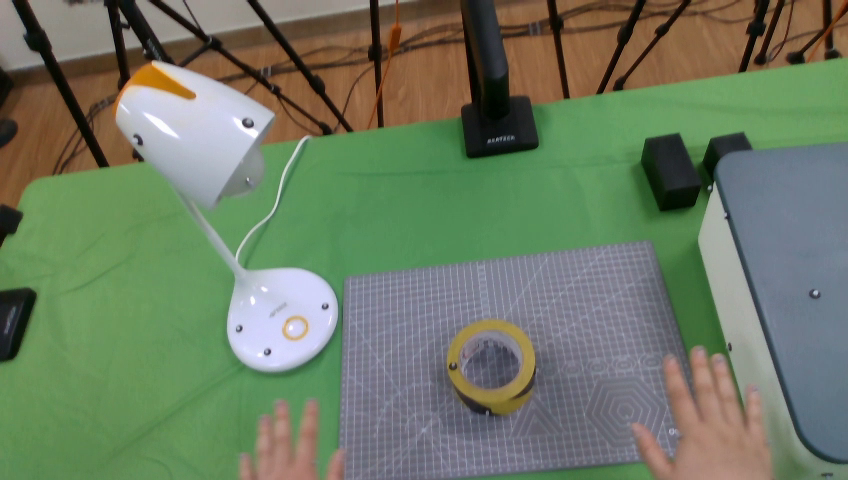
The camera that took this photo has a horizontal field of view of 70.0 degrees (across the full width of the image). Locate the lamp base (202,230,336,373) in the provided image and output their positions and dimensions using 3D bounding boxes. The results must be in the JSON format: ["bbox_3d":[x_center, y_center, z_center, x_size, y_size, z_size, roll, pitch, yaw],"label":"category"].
[{"bbox_3d":[-0.227,0.068,0.812,0.178,0.182,0.160,27,65,27],"label":"lamp base"}]

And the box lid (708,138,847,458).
[{"bbox_3d":[0.474,0.033,0.634,0.263,0.015,0.368,-5,56,6],"label":"box lid"}]

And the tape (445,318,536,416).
[{"bbox_3d":[0.084,0.161,0.772,0.117,0.053,0.116,-4,56,6],"label":"tape"}]

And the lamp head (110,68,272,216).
[{"bbox_3d":[-0.220,-0.097,0.561,0.123,0.112,0.112,31,62,-11],"label":"lamp head"}]

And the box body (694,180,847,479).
[{"bbox_3d":[0.485,0.076,0.694,0.254,0.162,0.360,-5,56,6],"label":"box body"}]
